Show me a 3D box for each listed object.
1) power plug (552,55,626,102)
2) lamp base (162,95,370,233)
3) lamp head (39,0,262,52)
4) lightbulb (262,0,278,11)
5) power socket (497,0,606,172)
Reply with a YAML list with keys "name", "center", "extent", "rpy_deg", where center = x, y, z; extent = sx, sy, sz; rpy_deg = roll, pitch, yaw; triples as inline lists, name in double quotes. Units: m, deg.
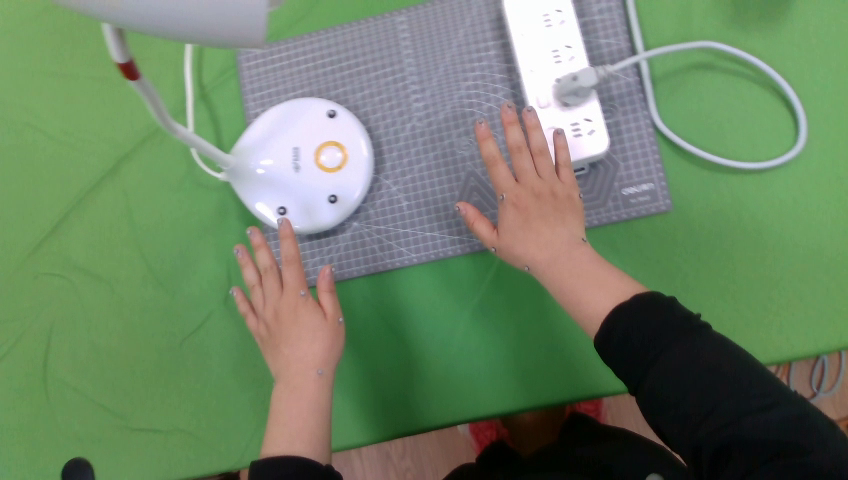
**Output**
- name: "power plug"
  center: [0.170, -0.163, 0.631]
  extent: [0.072, 0.053, 0.035]
  rpy_deg: [-3, 84, 6]
- name: "lamp base"
  center: [-0.164, -0.093, 0.618]
  extent: [0.179, 0.181, 0.160]
  rpy_deg: [-17, 81, 9]
- name: "lamp head"
  center: [-0.151, -0.156, 0.322]
  extent: [0.123, 0.112, 0.112]
  rpy_deg: [-8, 82, -14]
- name: "lightbulb"
  center: [-0.125, -0.155, 0.323]
  extent: [0.108, 0.059, 0.059]
  rpy_deg: [2, 83, -19]
- name: "power socket"
  center: [0.137, -0.185, 0.657]
  extent: [0.072, 0.033, 0.226]
  rpy_deg: [-15, 82, 6]
